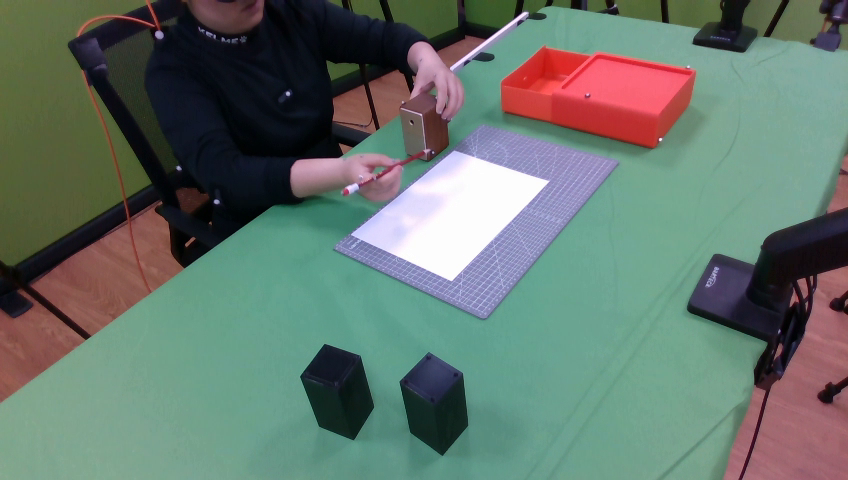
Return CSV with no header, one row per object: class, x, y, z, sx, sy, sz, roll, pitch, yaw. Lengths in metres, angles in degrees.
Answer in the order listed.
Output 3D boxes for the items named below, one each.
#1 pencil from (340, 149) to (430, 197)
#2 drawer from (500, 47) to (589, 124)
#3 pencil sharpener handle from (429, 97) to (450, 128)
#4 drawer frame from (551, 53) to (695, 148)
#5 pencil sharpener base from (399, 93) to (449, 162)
pencil,-0.058,-0.113,0.978,0.195,0.012,0.012,-32,45,-34
drawer,0.295,-0.316,1.255,0.210,0.073,0.195,22,47,29
pencil sharpener handle,0.035,-0.253,1.180,0.035,0.068,0.031,19,46,35
drawer frame,0.391,-0.281,1.196,0.212,0.083,0.202,22,48,29
pencil sharpener base,0.003,-0.216,1.159,0.061,0.107,0.077,23,48,32
